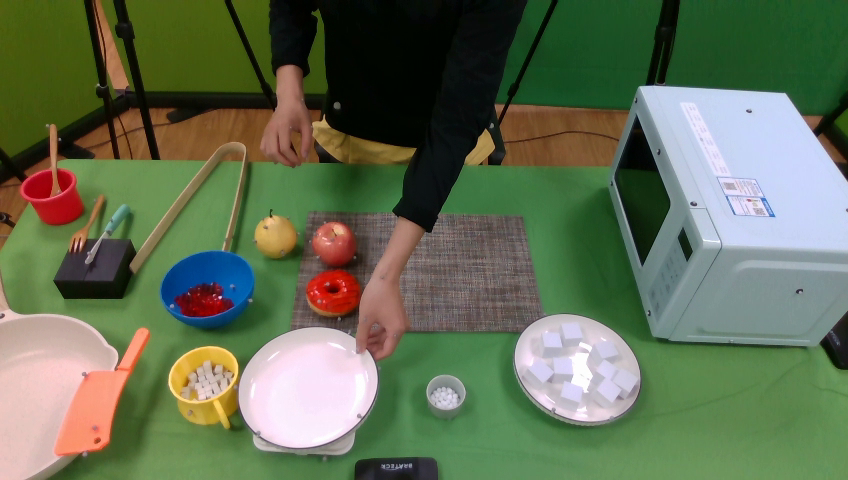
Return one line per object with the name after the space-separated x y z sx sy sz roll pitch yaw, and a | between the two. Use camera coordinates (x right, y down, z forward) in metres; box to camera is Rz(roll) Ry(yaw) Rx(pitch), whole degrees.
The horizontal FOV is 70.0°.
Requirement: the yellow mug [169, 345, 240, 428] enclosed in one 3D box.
-0.323 0.230 0.922 0.100 0.064 0.130 -24 53 -25 | yellow mug

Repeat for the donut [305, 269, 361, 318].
-0.161 0.095 1.075 0.099 0.048 0.098 4 46 -4 | donut

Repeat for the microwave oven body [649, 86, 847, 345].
0.567 -0.053 1.118 0.326 0.261 0.439 2 45 -1 | microwave oven body

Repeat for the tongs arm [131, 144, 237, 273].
-0.482 -0.078 1.235 0.028 0.028 0.385 6 45 13 | tongs arm

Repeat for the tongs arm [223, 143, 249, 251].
-0.397 -0.073 1.232 0.051 0.026 0.382 -2 45 0 | tongs arm

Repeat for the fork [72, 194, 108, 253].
-0.634 -0.036 1.158 0.028 0.019 0.206 -7 31 -8 | fork

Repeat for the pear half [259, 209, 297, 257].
-0.273 -0.024 1.141 0.076 0.110 0.056 27 50 16 | pear half

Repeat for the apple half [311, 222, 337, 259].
-0.190 -0.001 1.143 0.032 0.081 0.081 27 50 18 | apple half

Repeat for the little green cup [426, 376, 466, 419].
0.033 0.248 0.950 0.061 0.039 0.061 2 46 -2 | little green cup

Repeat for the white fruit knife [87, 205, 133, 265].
-0.584 -0.013 1.129 0.016 0.027 0.206 -1 31 -4 | white fruit knife

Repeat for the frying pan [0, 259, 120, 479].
-0.647 0.164 0.936 0.307 0.103 0.485 -19 58 -22 | frying pan

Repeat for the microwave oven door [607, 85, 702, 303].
0.423 -0.094 1.140 0.039 0.245 0.353 2 46 -1 | microwave oven door

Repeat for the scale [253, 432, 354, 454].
-0.175 0.236 0.951 0.149 0.032 0.199 4 45 0 | scale

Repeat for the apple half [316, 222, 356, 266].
-0.157 0.015 1.132 0.053 0.075 0.080 28 47 18 | apple half

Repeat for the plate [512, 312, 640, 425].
0.246 0.213 0.999 0.208 0.039 0.206 2 46 -2 | plate

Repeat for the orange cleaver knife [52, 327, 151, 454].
-0.462 0.212 0.879 0.077 0.012 0.210 7 45 -2 | orange cleaver knife

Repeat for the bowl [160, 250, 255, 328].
-0.362 0.098 1.040 0.151 0.077 0.150 2 45 -2 | bowl

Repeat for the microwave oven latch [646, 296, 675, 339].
0.412 0.134 1.061 0.030 0.029 0.078 4 45 1 | microwave oven latch

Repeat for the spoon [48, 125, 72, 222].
-0.718 -0.131 1.189 0.041 0.021 0.193 -3 90 -6 | spoon

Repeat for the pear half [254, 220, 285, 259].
-0.294 0.003 1.127 0.070 0.088 0.031 25 49 16 | pear half

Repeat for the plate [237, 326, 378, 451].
-0.174 0.224 0.917 0.209 0.038 0.208 2 46 -2 | plate
